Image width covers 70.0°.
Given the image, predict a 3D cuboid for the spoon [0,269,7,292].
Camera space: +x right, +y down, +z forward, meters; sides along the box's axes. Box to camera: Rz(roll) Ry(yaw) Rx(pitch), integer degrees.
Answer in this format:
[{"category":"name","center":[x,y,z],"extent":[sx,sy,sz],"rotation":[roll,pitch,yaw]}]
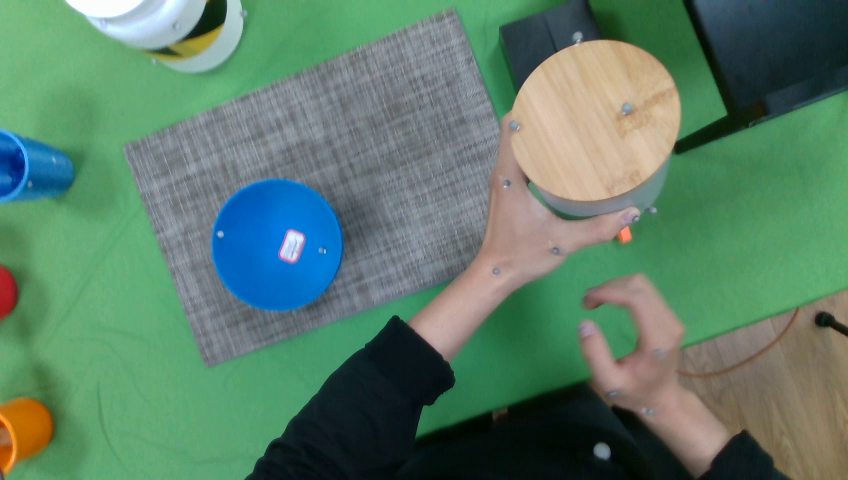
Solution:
[{"category":"spoon","center":[-0.616,0.065,0.726],"extent":[0.194,0.021,0.041],"rotation":[-11,90,-37]}]

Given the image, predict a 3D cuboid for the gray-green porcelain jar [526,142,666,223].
[{"category":"gray-green porcelain jar","center":[0.128,-0.071,0.462],"extent":[0.105,0.127,0.105],"rotation":[-3,81,19]}]

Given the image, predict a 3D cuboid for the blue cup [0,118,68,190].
[{"category":"blue cup","center":[-0.485,-0.100,0.725],"extent":[0.092,0.100,0.092],"rotation":[0,93,3]}]

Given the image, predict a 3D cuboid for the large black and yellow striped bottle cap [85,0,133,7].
[{"category":"large black and yellow striped bottle cap","center":[-0.304,-0.282,0.573],"extent":[0.115,0.019,0.115],"rotation":[0,94,6]}]

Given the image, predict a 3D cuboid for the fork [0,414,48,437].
[{"category":"fork","center":[-0.575,0.239,0.727],"extent":[0.208,0.018,0.028],"rotation":[-3,103,-38]}]

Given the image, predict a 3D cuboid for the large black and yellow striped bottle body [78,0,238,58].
[{"category":"large black and yellow striped bottle body","center":[-0.297,-0.284,0.656],"extent":[0.130,0.184,0.131],"rotation":[0,92,5]}]

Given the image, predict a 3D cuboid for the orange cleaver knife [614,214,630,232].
[{"category":"orange cleaver knife","center":[0.190,-0.104,0.672],"extent":[0.012,0.076,0.213],"rotation":[-24,120,3]}]

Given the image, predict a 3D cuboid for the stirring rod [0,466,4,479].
[{"category":"stirring rod","center":[-0.529,0.214,0.720],"extent":[0.014,0.006,0.176],"rotation":[-16,92,3]}]

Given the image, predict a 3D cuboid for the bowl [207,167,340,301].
[{"category":"bowl","center":[-0.164,-0.008,0.708],"extent":[0.151,0.077,0.151],"rotation":[0,93,5]}]

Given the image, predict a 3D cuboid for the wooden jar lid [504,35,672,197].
[{"category":"wooden jar lid","center":[0.108,-0.081,0.404],"extent":[0.108,0.021,0.108],"rotation":[-3,82,21]}]
